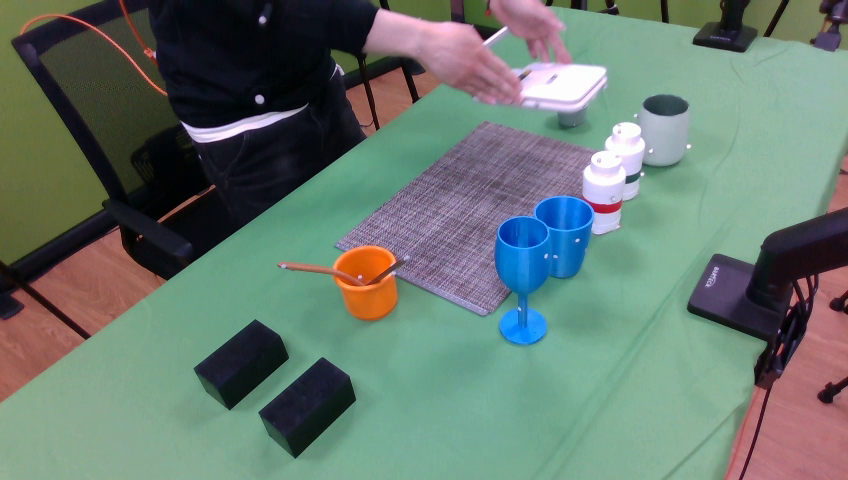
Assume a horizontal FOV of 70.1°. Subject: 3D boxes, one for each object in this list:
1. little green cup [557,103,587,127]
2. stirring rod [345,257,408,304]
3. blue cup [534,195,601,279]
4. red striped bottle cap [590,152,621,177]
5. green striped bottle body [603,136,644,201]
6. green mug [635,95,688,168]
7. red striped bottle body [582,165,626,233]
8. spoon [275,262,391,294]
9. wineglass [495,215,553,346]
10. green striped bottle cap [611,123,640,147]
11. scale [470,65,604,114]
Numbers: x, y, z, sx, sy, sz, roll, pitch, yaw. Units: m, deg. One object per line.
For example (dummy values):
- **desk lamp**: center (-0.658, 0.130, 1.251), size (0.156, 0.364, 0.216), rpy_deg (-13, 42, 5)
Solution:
- **little green cup**: center (0.296, -0.257, 1.214), size (0.061, 0.039, 0.061), rpy_deg (-6, 41, 6)
- **stirring rod**: center (-0.067, 0.057, 0.815), size (0.014, 0.175, 0.006), rpy_deg (-24, 82, -38)
- **blue cup**: center (0.201, 0.000, 0.879), size (0.092, 0.100, 0.092), rpy_deg (-3, 39, 3)
- **red striped bottle cap**: center (0.273, -0.114, 0.907), size (0.044, 0.018, 0.044), rpy_deg (-5, 39, 4)
- **green striped bottle body**: center (0.326, -0.128, 0.997), size (0.063, 0.120, 0.063), rpy_deg (-4, 41, 4)
- **green mug**: center (0.421, -0.201, 1.081), size (0.092, 0.105, 0.125), rpy_deg (5, 42, 15)
- **red striped bottle body**: center (0.278, -0.075, 0.942), size (0.063, 0.120, 0.062), rpy_deg (-4, 41, 4)
- **spoon**: center (-0.120, 0.050, 0.830), size (0.041, 0.195, 0.021), rpy_deg (31, 97, 45)
- **wineglass**: center (0.127, 0.054, 0.770), size (0.074, 0.173, 0.073), rpy_deg (-4, 40, 4)
- **green striped bottle cap**: center (0.322, -0.168, 0.963), size (0.044, 0.020, 0.044), rpy_deg (-4, 41, 4)
- **scale**: center (0.194, -0.262, 1.041), size (0.199, 0.032, 0.149), rpy_deg (15, 39, 30)
